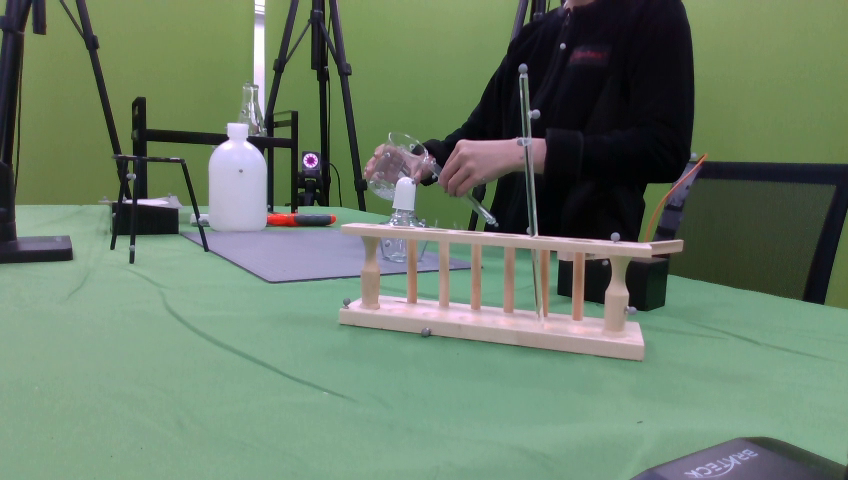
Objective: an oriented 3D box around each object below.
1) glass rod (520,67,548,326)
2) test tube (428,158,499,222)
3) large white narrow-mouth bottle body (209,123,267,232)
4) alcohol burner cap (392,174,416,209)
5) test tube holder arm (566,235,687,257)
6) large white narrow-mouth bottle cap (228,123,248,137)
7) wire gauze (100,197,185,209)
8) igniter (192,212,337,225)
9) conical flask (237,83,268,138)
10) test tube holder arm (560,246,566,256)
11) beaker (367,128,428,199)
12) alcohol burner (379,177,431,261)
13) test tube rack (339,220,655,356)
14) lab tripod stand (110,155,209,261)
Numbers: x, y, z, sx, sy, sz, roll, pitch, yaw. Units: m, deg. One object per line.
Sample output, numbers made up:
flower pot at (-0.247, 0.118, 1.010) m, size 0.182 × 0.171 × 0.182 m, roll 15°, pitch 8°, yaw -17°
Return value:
glass rod at (0.084, -0.029, 0.458) m, size 0.008 × 0.199 × 0.008 m, roll -6°, pitch 11°, yaw 2°
test tube at (0.062, -0.080, 0.954) m, size 0.149 × 0.017 × 0.017 m, roll 44°, pitch 25°, yaw 20°
large white narrow-mouth bottle body at (-0.340, -0.115, 1.109) m, size 0.102 × 0.194 × 0.102 m, roll 2°, pitch 8°, yaw 0°
alcohol burner cap at (-0.025, -0.067, 0.834) m, size 0.034 × 0.048 × 0.034 m, roll 8°, pitch 7°, yaw -1°
test tube holder arm at (0.215, 0.006, 0.630) m, size 0.179 × 0.015 × 0.013 m, roll -3°, pitch 9°, yaw -31°
large white narrow-mouth bottle cap at (-0.338, -0.199, 1.097) m, size 0.038 × 0.024 × 0.037 m, roll 2°, pitch 8°, yaw 0°
wire gauze at (-0.469, -0.062, 1.008) m, size 0.126 × 0.011 × 0.121 m, roll -2°, pitch 8°, yaw -25°
igniter at (-0.312, -0.043, 1.203) m, size 0.278 × 0.025 × 0.057 m, roll -1°, pitch -5°, yaw -25°
conical flask at (-0.402, -0.299, 1.406) m, size 0.075 × 0.122 × 0.075 m, roll 2°, pitch 7°, yaw 0°
test tube holder arm at (0.173, 0.007, 0.611) m, size 0.088 × 0.015 × 0.010 m, roll -3°, pitch 9°, yaw -30°
beaker at (-0.045, -0.126, 1.027) m, size 0.084 × 0.100 × 0.074 m, roll 38°, pitch 30°, yaw 11°
alcohol burner at (-0.027, -0.031, 0.838) m, size 0.078 × 0.119 × 0.078 m, roll 0°, pitch 6°, yaw 0°
test tube rack at (0.056, 0.032, 0.495) m, size 0.242 × 0.085 × 0.067 m, roll 4°, pitch 7°, yaw 15°
lab tripod stand at (-0.361, -0.046, 0.806) m, size 0.148 × 0.131 × 0.148 m, roll 2°, pitch 5°, yaw 0°
